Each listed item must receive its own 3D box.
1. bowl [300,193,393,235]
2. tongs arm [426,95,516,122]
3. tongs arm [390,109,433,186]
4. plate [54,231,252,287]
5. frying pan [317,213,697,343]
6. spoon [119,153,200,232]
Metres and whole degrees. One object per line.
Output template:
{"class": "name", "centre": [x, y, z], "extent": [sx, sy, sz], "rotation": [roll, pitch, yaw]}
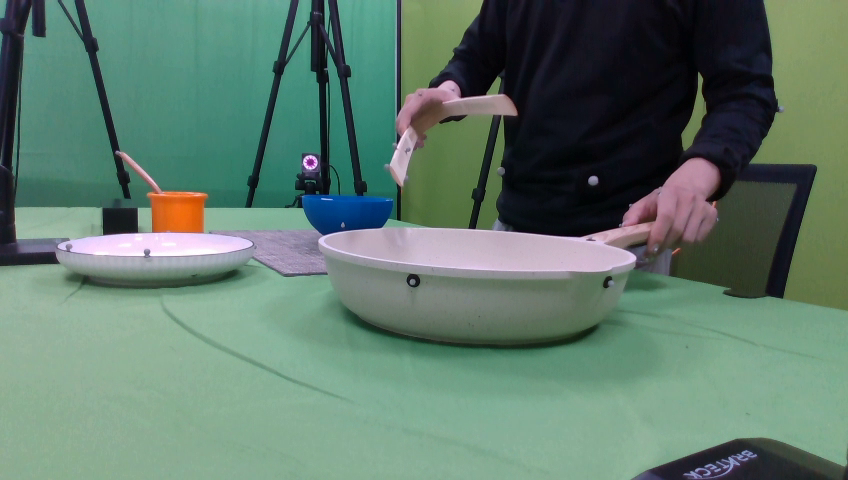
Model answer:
{"class": "bowl", "centre": [-0.128, -0.034, 0.995], "extent": [0.151, 0.077, 0.151], "rotation": [3, 7, 0]}
{"class": "tongs arm", "centre": [0.052, -0.169, 0.783], "extent": [0.028, 0.028, 0.386], "rotation": [-38, 15, 0]}
{"class": "tongs arm", "centre": [-0.010, -0.131, 0.789], "extent": [0.051, 0.026, 0.384], "rotation": [-32, 14, 9]}
{"class": "plate", "centre": [-0.309, 0.020, 0.705], "extent": [0.208, 0.039, 0.207], "rotation": [3, 7, 0]}
{"class": "frying pan", "centre": [0.133, 0.013, 0.630], "extent": [0.490, 0.102, 0.305], "rotation": [-12, 14, -31]}
{"class": "spoon", "centre": [-0.439, -0.077, 1.001], "extent": [0.021, 0.193, 0.042], "rotation": [-43, -6, 22]}
